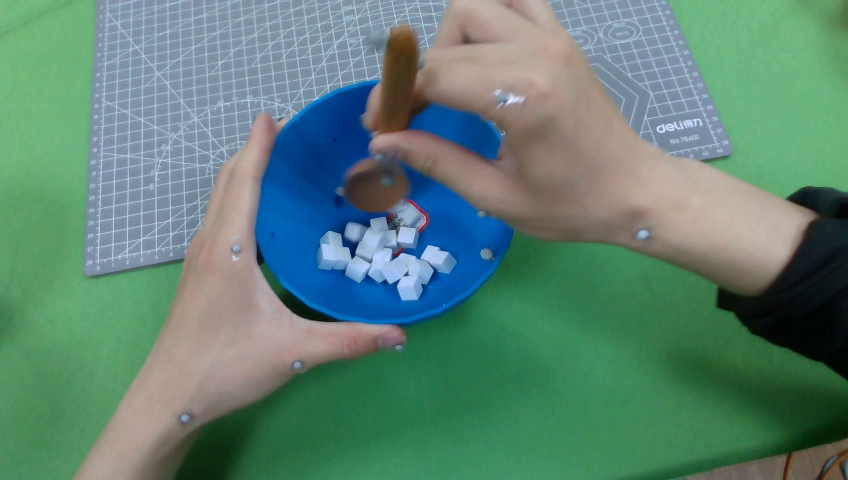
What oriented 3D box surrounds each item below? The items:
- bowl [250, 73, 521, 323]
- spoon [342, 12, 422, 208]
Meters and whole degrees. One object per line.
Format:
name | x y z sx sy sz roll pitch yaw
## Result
bowl | -0.020 -0.016 0.371 0.151 0.077 0.150 0 71 2
spoon | -0.018 -0.049 0.295 0.042 0.194 0.021 1 79 -9
